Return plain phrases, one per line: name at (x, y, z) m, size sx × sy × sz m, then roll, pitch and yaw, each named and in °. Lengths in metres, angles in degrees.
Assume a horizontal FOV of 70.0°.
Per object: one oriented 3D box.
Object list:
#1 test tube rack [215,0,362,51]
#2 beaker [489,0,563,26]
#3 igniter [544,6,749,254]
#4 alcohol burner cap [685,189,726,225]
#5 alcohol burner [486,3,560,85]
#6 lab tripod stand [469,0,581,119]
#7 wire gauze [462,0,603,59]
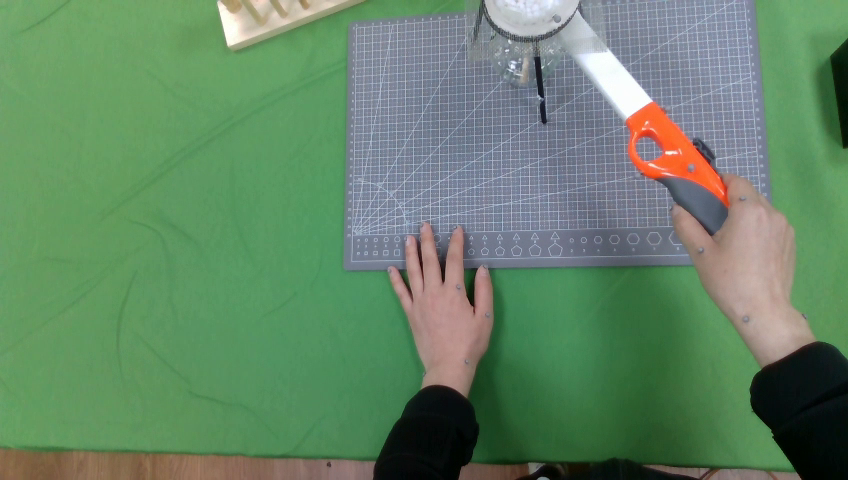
test tube rack at (-0.142, -0.309, 0.702) m, size 0.242 × 0.085 × 0.066 m, roll -18°, pitch 78°, yaw 7°
beaker at (0.082, -0.233, 0.504) m, size 0.084 × 0.101 × 0.074 m, roll 12°, pitch 84°, yaw 12°
igniter at (0.196, -0.107, 0.544) m, size 0.057 × 0.025 × 0.274 m, roll -34°, pitch 70°, yaw 10°
alcohol burner cap at (0.282, -0.035, 0.603) m, size 0.034 × 0.048 × 0.033 m, roll -2°, pitch 80°, yaw 10°
alcohol burner at (0.102, -0.209, 0.625) m, size 0.078 × 0.119 × 0.077 m, roll -1°, pitch 81°, yaw 9°
lab tripod stand at (0.108, -0.213, 0.614) m, size 0.148 × 0.132 × 0.148 m, roll -1°, pitch 82°, yaw 9°
wire gauze at (0.096, -0.224, 0.550) m, size 0.125 × 0.011 × 0.121 m, roll -2°, pitch 85°, yaw 8°
